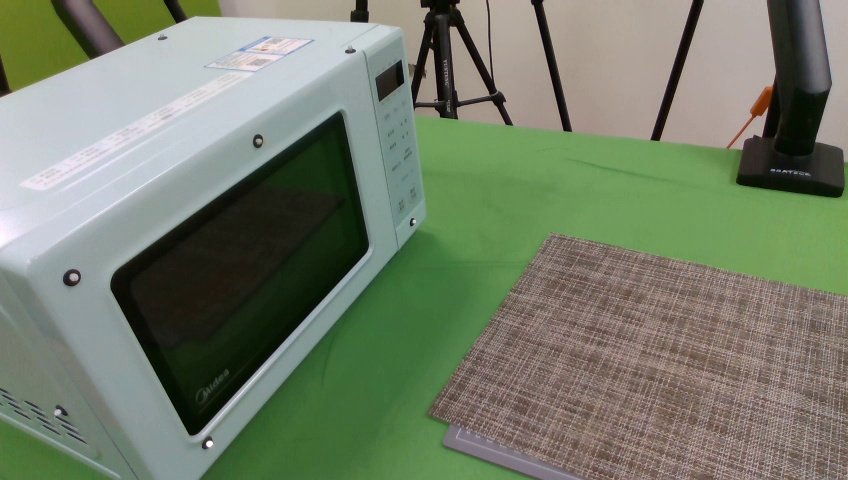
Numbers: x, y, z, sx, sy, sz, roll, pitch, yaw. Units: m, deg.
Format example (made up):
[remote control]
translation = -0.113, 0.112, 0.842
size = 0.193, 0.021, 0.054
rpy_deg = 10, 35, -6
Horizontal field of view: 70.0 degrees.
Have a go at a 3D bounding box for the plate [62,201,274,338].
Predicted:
[plate]
translation = -0.254, 0.030, 0.623
size = 0.209, 0.038, 0.207
rpy_deg = -6, 35, 4

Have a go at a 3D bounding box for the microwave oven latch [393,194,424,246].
[microwave oven latch]
translation = -0.027, -0.027, 0.739
size = 0.030, 0.030, 0.079
rpy_deg = 13, 40, 26

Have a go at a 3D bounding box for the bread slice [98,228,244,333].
[bread slice]
translation = -0.257, 0.032, 0.628
size = 0.104, 0.019, 0.131
rpy_deg = 20, 47, 32

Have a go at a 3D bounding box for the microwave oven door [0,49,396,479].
[microwave oven door]
translation = -0.140, 0.011, 0.527
size = 0.039, 0.246, 0.354
rpy_deg = 11, 39, 25

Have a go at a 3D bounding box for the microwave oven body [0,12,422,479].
[microwave oven body]
translation = -0.250, -0.034, 0.621
size = 0.324, 0.262, 0.440
rpy_deg = 12, 40, 25
